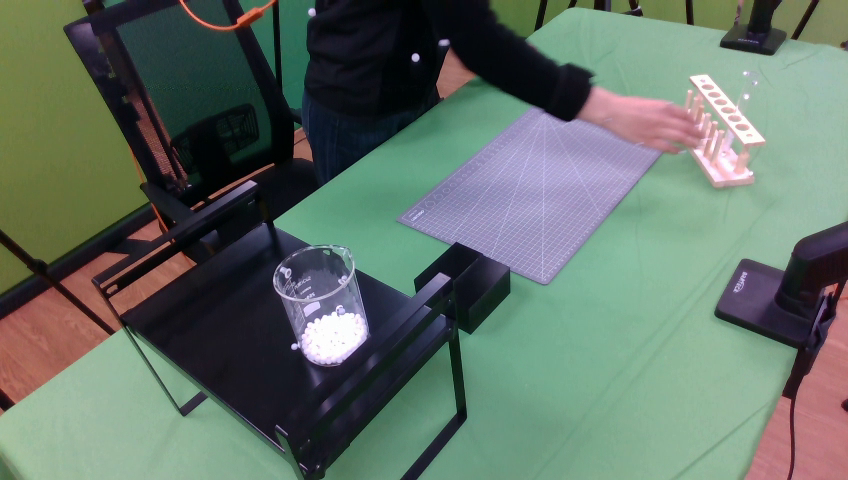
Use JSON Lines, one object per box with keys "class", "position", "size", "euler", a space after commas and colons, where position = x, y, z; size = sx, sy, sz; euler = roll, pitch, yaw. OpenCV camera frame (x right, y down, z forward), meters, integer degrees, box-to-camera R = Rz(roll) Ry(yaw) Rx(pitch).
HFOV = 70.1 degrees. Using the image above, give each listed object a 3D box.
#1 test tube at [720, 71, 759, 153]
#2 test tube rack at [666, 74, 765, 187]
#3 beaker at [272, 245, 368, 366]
{"class": "test tube", "position": [0.529, -0.212, 1.016], "size": [0.017, 0.151, 0.017], "euler": [0, 41, 0]}
{"class": "test tube rack", "position": [0.512, -0.202, 1.082], "size": [0.067, 0.085, 0.241], "euler": [-6, 41, 2]}
{"class": "beaker", "position": [-0.093, 0.064, 0.578], "size": [0.073, 0.101, 0.084], "euler": [20, 48, 29]}
